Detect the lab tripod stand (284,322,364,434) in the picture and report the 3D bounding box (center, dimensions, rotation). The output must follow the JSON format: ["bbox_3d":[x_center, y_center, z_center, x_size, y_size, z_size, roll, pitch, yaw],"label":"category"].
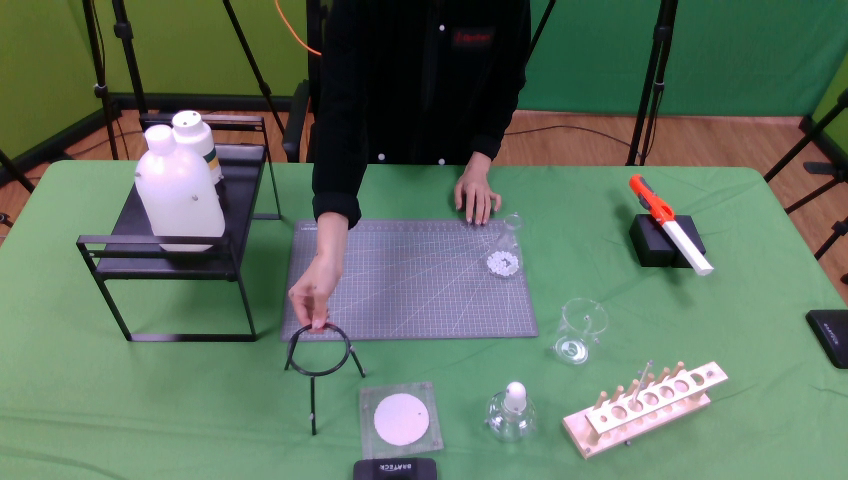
[{"bbox_3d":[-0.161,0.196,0.917,0.148,0.132,0.147,2,48,-2],"label":"lab tripod stand"}]

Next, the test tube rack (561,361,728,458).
[{"bbox_3d":[0.341,0.248,0.940,0.243,0.085,0.066,-15,49,-18],"label":"test tube rack"}]

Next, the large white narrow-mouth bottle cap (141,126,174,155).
[{"bbox_3d":[-0.356,-0.133,0.811,0.038,0.024,0.037,2,48,-2],"label":"large white narrow-mouth bottle cap"}]

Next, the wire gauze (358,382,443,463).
[{"bbox_3d":[-0.039,0.276,0.937,0.121,0.011,0.124,-4,47,-7],"label":"wire gauze"}]

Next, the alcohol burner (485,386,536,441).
[{"bbox_3d":[0.131,0.249,0.904,0.078,0.120,0.077,1,48,-1],"label":"alcohol burner"}]

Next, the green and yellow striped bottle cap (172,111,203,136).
[{"bbox_3d":[-0.374,-0.185,0.958,0.045,0.020,0.045,4,46,-4],"label":"green and yellow striped bottle cap"}]

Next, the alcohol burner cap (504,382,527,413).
[{"bbox_3d":[0.133,0.225,0.877,0.034,0.048,0.033,-4,47,5],"label":"alcohol burner cap"}]

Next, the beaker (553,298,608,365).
[{"bbox_3d":[0.260,0.154,1.015,0.073,0.101,0.084,37,54,27],"label":"beaker"}]

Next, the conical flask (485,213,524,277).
[{"bbox_3d":[0.157,0.007,1.129,0.075,0.122,0.075,2,46,-2],"label":"conical flask"}]

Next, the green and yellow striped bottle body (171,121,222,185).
[{"bbox_3d":[-0.375,-0.149,0.995,0.063,0.120,0.063,2,46,-2],"label":"green and yellow striped bottle body"}]

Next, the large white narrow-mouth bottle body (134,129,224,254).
[{"bbox_3d":[-0.358,-0.075,0.875,0.102,0.195,0.101,2,48,-1],"label":"large white narrow-mouth bottle body"}]

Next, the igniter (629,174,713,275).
[{"bbox_3d":[0.481,-0.040,1.202,0.057,0.025,0.274,-2,46,-21],"label":"igniter"}]

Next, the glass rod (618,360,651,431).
[{"bbox_3d":[0.298,0.227,0.865,0.008,0.201,0.008,-1,48,2],"label":"glass rod"}]
